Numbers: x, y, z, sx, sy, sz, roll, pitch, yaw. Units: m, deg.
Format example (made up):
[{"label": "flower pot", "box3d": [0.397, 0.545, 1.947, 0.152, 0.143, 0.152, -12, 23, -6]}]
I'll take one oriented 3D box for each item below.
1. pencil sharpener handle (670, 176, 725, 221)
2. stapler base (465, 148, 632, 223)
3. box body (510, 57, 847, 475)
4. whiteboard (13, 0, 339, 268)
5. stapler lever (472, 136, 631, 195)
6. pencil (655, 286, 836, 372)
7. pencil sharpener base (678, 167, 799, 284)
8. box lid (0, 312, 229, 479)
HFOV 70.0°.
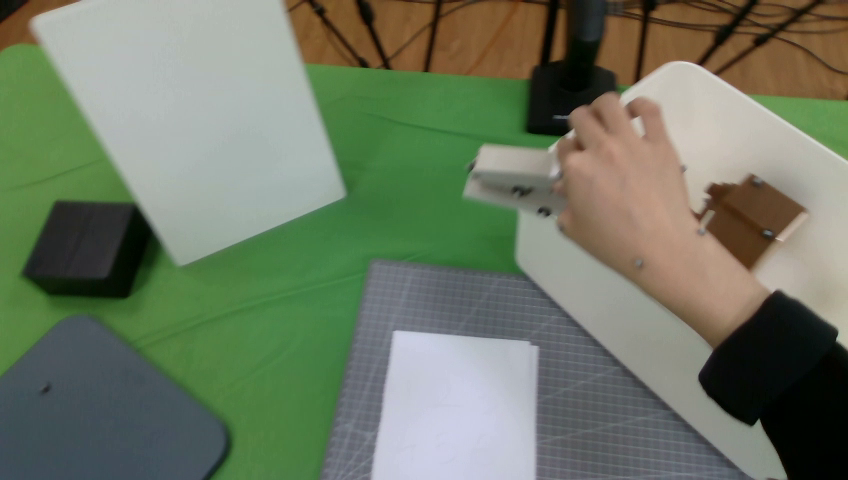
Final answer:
[{"label": "pencil sharpener handle", "box3d": [0.297, -0.051, 0.665, 0.036, 0.068, 0.030, -31, 61, -32]}, {"label": "stapler base", "box3d": [0.099, -0.048, 0.480, 0.130, 0.024, 0.041, 14, 65, 10]}, {"label": "box body", "box3d": [0.290, 0.018, 0.613, 0.254, 0.162, 0.361, -38, 65, -19]}, {"label": "whiteboard", "box3d": [-0.259, -0.160, 0.692, 0.217, 0.308, 0.142, -25, 42, -11]}, {"label": "stapler lever", "box3d": [0.096, -0.059, 0.456, 0.118, 0.040, 0.026, 13, 65, 11]}, {"label": "pencil", "box3d": [0.337, 0.091, 0.651, 0.193, 0.012, 0.012, 27, 64, 20]}, {"label": "pencil sharpener base", "box3d": [0.334, -0.015, 0.657, 0.061, 0.108, 0.076, -38, 64, -20]}, {"label": "box lid", "box3d": [-0.399, 0.266, 0.584, 0.261, 0.015, 0.370, 30, 65, 18]}]
